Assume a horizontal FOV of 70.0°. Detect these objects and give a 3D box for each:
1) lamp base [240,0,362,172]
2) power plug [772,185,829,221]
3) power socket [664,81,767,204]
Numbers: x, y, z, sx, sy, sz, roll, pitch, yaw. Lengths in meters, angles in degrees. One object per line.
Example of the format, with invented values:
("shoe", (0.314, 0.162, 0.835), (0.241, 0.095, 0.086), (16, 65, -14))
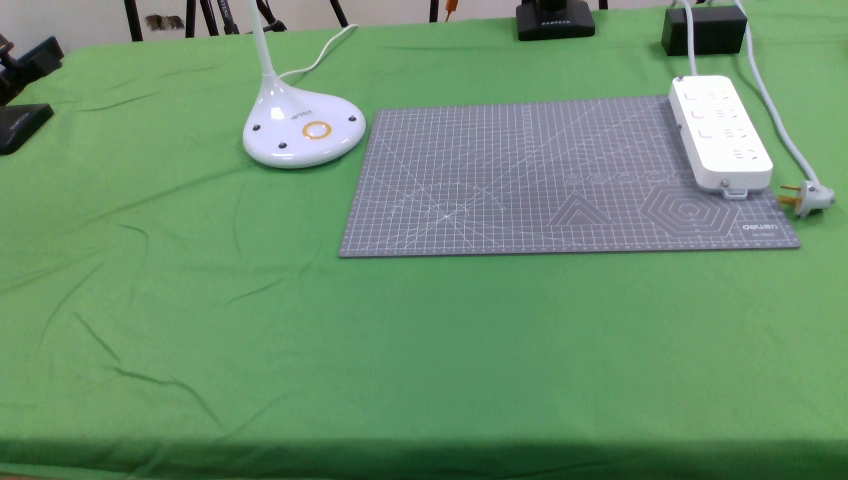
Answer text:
("lamp base", (-0.178, -0.200, 0.753), (0.177, 0.182, 0.160), (27, 51, 36))
("power plug", (0.379, -0.039, 0.618), (0.052, 0.035, 0.072), (12, 10, 15))
("power socket", (0.331, -0.123, 0.702), (0.072, 0.033, 0.225), (1, 41, 9))
